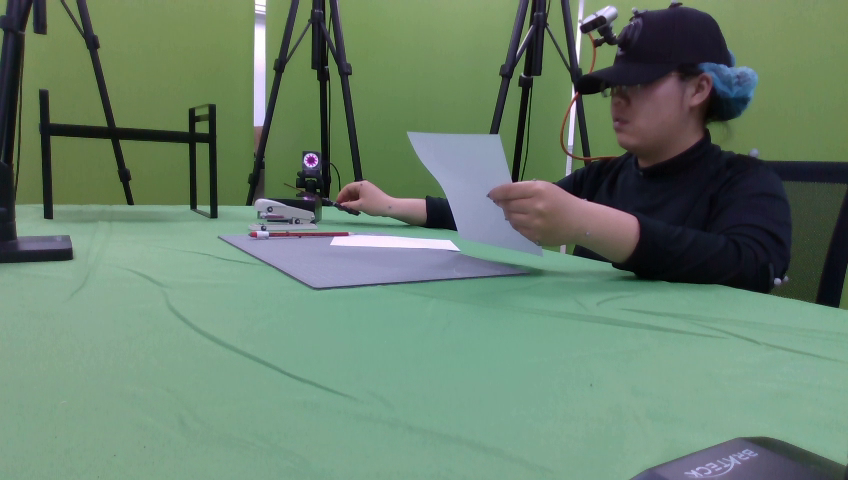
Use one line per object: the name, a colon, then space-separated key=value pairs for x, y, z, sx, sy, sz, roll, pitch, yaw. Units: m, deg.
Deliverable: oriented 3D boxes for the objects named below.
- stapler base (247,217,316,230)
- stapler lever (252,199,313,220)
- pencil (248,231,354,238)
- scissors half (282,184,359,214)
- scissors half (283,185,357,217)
stapler base: x=-0.276 y=-0.033 z=1.172 sx=0.131 sy=0.024 sz=0.041 roll=0 pitch=10 yaw=-37
stapler lever: x=-0.273 y=-0.058 z=1.170 sx=0.119 sy=0.040 sz=0.026 roll=0 pitch=10 yaw=-37
pencil: x=-0.206 y=-0.009 z=1.039 sx=0.195 sy=0.012 sz=0.012 roll=0 pitch=8 yaw=-36
scissors half: x=-0.227 y=-0.091 z=1.330 sx=0.176 sy=0.013 sz=0.040 roll=20 pitch=7 yaw=-14
scissors half: x=-0.227 y=-0.087 z=1.310 sx=0.175 sy=0.013 sz=0.040 roll=23 pitch=12 yaw=3
